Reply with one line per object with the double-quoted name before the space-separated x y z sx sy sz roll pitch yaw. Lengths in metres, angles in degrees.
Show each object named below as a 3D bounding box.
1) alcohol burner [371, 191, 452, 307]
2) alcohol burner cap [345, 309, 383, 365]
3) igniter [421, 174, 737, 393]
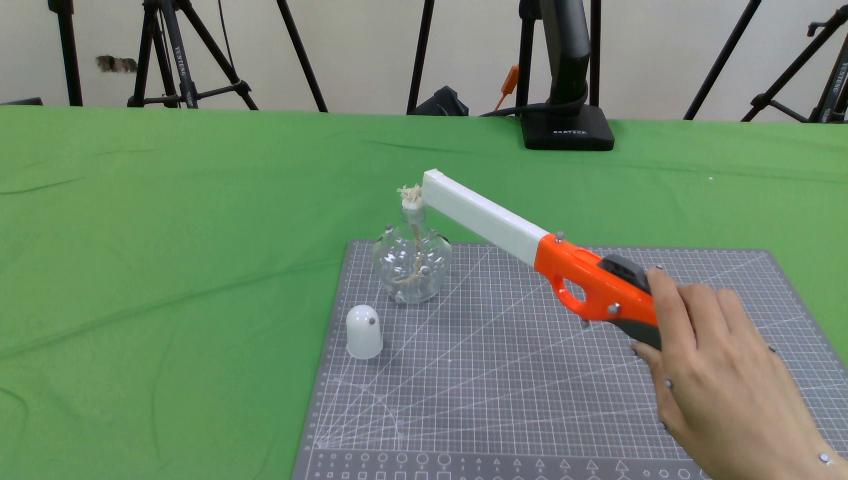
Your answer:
"alcohol burner" -0.011 0.004 0.561 0.078 0.120 0.077 1 39 -1
"alcohol burner cap" -0.052 0.080 0.519 0.034 0.048 0.033 1 37 0
"igniter" 0.095 0.018 0.439 0.025 0.057 0.273 -23 42 -37
